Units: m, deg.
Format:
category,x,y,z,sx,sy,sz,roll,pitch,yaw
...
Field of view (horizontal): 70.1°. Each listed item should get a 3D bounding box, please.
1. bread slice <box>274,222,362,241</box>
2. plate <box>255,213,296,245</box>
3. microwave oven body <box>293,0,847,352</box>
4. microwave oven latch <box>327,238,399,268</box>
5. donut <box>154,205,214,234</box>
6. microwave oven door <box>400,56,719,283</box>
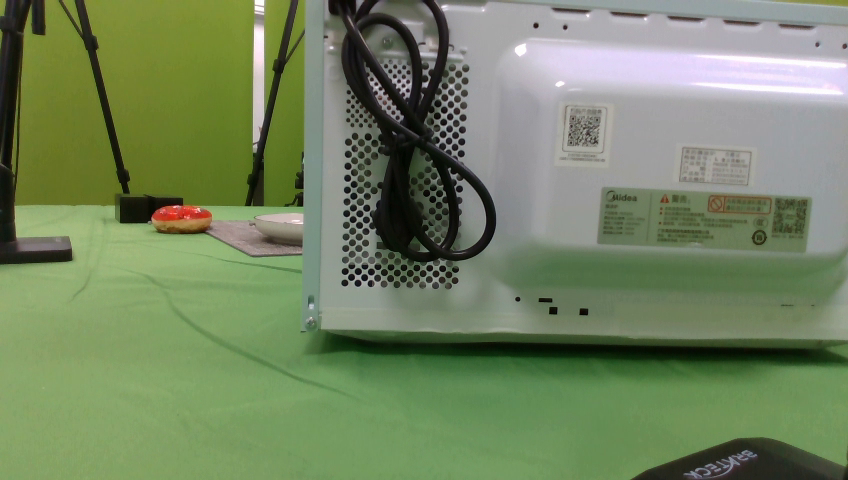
category,x,y,z,sx,sy,sz,roll,pitch,yaw
bread slice,-0.181,-0.016,1.011,0.104,0.019,0.132,6,8,27
plate,-0.177,-0.018,1.017,0.208,0.039,0.207,2,7,0
microwave oven body,0.122,-0.055,0.550,0.442,0.260,0.325,3,7,-5
microwave oven latch,-0.069,0.015,0.694,0.079,0.029,0.030,3,7,-3
donut,-0.426,-0.037,1.075,0.099,0.048,0.099,2,12,0
microwave oven door,0.155,-0.078,0.697,0.356,0.243,0.039,2,8,-5
